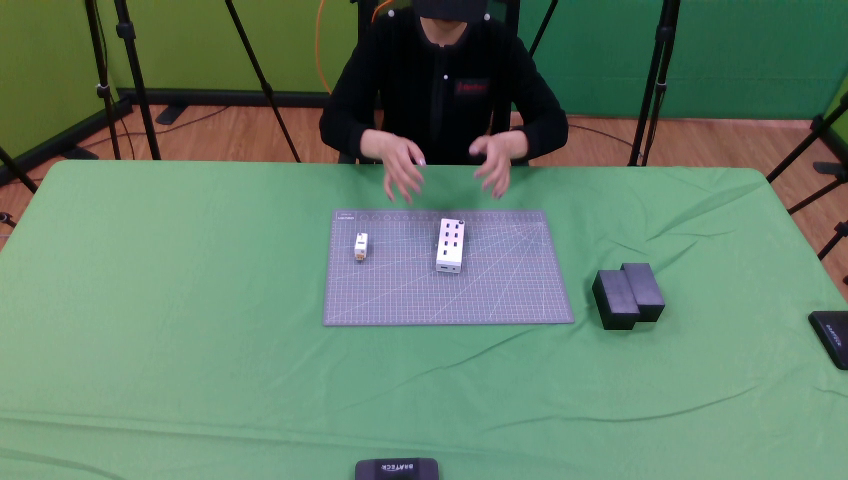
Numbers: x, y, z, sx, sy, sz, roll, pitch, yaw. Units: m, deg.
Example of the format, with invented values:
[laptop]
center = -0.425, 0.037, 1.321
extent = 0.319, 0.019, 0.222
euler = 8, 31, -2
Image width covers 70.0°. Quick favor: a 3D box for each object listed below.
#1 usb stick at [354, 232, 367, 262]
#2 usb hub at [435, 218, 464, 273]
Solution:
[usb stick]
center = -0.123, 0.015, 1.168
extent = 0.021, 0.027, 0.059
euler = 5, 49, -2
[usb hub]
center = 0.052, 0.009, 1.188
extent = 0.049, 0.025, 0.124
euler = 7, 46, 2
